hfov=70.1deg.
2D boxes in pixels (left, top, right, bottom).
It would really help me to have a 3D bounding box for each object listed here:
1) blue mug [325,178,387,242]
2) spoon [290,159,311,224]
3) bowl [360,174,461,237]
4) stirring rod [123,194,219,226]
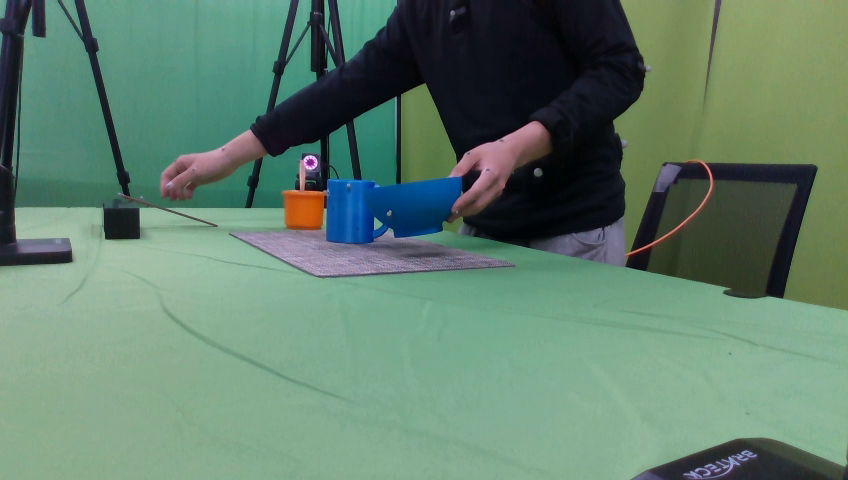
[{"bbox_3d":[-0.111,-0.052,1.033,0.116,0.106,0.082,3,7,7],"label":"blue mug"},{"bbox_3d":[-0.257,-0.104,1.265,0.042,0.193,0.021,2,-37,-11],"label":"spoon"},{"bbox_3d":[-0.015,-0.049,0.892,0.151,0.077,0.151,-8,4,1],"label":"bowl"},{"bbox_3d":[-0.480,-0.055,1.152,0.177,0.006,0.014,20,-7,-29],"label":"stirring rod"}]
